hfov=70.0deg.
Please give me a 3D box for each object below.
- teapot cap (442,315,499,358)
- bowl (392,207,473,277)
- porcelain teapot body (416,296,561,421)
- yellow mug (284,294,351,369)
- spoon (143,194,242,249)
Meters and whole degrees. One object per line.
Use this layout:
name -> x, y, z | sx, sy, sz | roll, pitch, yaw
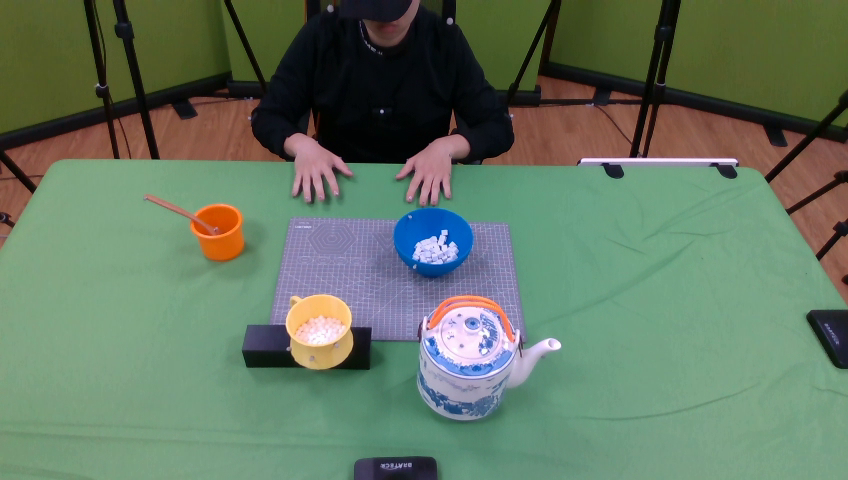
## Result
teapot cap -> 0.068, 0.133, 0.880 | 0.085, 0.044, 0.084 | 4, 45, -4
bowl -> 0.014, 0.016, 1.140 | 0.151, 0.077, 0.150 | 2, 46, -2
porcelain teapot body -> 0.094, 0.164, 0.907 | 0.205, 0.226, 0.144 | 6, 45, 1
yellow mug -> -0.175, 0.134, 0.955 | 0.100, 0.064, 0.130 | -33, 56, -31
spoon -> -0.421, -0.036, 1.112 | 0.021, 0.195, 0.041 | -36, 38, 24
